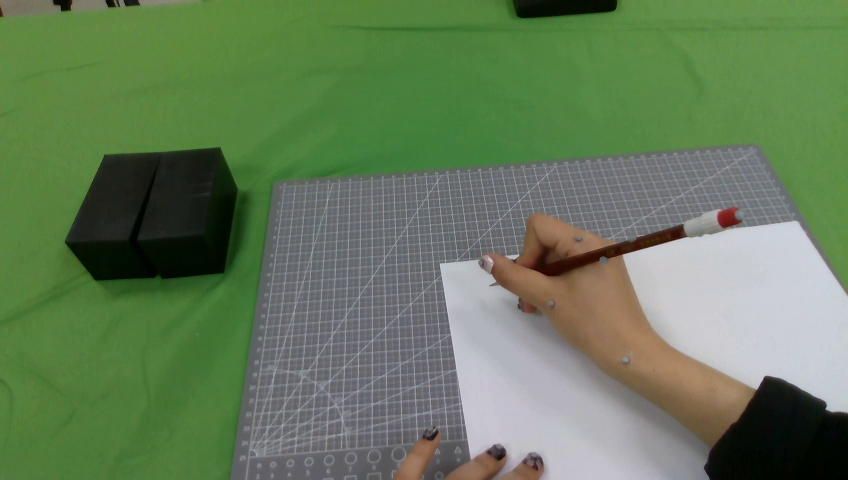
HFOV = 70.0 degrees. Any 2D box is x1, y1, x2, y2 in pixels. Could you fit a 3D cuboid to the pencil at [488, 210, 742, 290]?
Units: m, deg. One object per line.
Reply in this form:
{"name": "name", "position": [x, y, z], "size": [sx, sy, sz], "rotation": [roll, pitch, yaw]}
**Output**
{"name": "pencil", "position": [0.105, 0.013, 0.385], "size": [0.012, 0.193, 0.012], "rotation": [12, 68, -34]}
